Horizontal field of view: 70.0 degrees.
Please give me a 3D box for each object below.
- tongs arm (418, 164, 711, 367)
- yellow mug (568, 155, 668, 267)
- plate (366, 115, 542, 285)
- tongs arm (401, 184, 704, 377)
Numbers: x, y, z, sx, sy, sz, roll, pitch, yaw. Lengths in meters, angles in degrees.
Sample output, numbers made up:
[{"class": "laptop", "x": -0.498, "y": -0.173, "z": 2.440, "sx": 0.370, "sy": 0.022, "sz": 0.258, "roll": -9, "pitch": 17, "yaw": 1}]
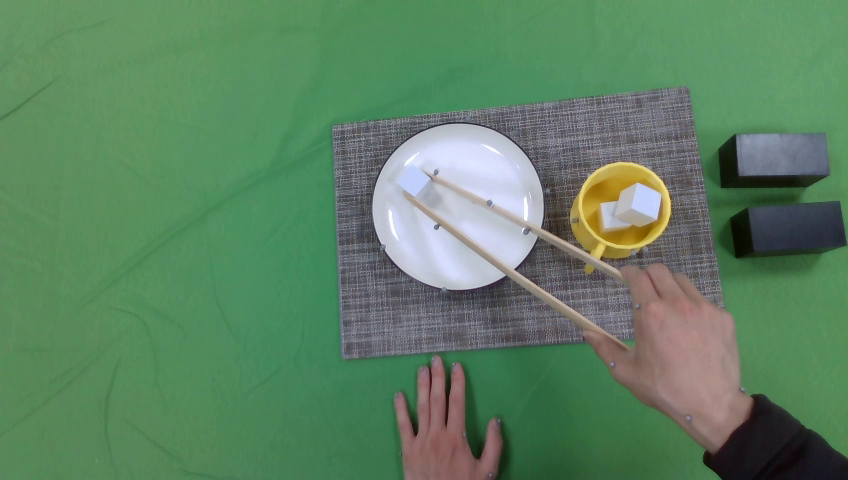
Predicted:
[{"class": "tongs arm", "x": 0.115, "y": 0.007, "z": 0.619, "sx": 0.381, "sy": 0.027, "sz": 0.050, "roll": 31, "pitch": 78, "yaw": 38}, {"class": "yellow mug", "x": 0.214, "y": -0.027, "z": 0.697, "sx": 0.099, "sy": 0.064, "sz": 0.130, "roll": 26, "pitch": 84, "yaw": 9}, {"class": "plate", "x": 0.036, "y": -0.047, "z": 0.732, "sx": 0.207, "sy": 0.039, "sz": 0.207, "roll": -1, "pitch": 80, "yaw": 5}, {"class": "tongs arm", "x": 0.100, "y": 0.025, "z": 0.617, "sx": 0.028, "sy": 0.028, "sz": 0.383, "roll": -46, "pitch": 51, "yaw": -10}]
